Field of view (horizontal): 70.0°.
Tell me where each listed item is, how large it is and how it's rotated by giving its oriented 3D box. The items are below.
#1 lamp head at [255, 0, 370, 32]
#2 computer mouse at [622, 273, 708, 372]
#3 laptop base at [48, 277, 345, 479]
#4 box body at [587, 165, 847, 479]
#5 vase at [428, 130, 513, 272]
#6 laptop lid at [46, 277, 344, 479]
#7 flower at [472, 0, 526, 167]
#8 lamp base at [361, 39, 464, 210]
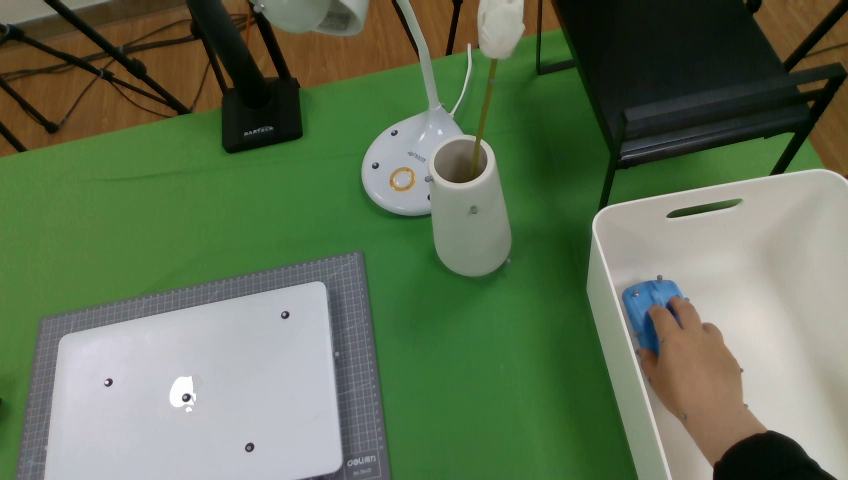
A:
[{"bbox_3d":[-0.085,-0.250,0.504,0.112,0.113,0.122,16,83,16],"label":"lamp head"},{"bbox_3d":[0.265,0.088,0.669,0.063,0.041,0.116,-12,56,4],"label":"computer mouse"},{"bbox_3d":[-0.276,0.185,0.736,0.354,0.023,0.233,-12,65,2],"label":"laptop base"},{"bbox_3d":[0.324,0.134,0.594,0.254,0.162,0.360,-10,61,3],"label":"box body"},{"bbox_3d":[0.052,-0.041,0.705,0.098,0.202,0.097,-4,61,8],"label":"vase"},{"bbox_3d":[-0.277,0.182,0.725,0.357,0.013,0.239,-11,64,3],"label":"laptop lid"},{"bbox_3d":[0.055,-0.090,0.636,0.038,0.365,0.043,-16,50,-20],"label":"flower"},{"bbox_3d":[-0.014,-0.157,0.786,0.160,0.182,0.178,19,64,17],"label":"lamp base"}]
